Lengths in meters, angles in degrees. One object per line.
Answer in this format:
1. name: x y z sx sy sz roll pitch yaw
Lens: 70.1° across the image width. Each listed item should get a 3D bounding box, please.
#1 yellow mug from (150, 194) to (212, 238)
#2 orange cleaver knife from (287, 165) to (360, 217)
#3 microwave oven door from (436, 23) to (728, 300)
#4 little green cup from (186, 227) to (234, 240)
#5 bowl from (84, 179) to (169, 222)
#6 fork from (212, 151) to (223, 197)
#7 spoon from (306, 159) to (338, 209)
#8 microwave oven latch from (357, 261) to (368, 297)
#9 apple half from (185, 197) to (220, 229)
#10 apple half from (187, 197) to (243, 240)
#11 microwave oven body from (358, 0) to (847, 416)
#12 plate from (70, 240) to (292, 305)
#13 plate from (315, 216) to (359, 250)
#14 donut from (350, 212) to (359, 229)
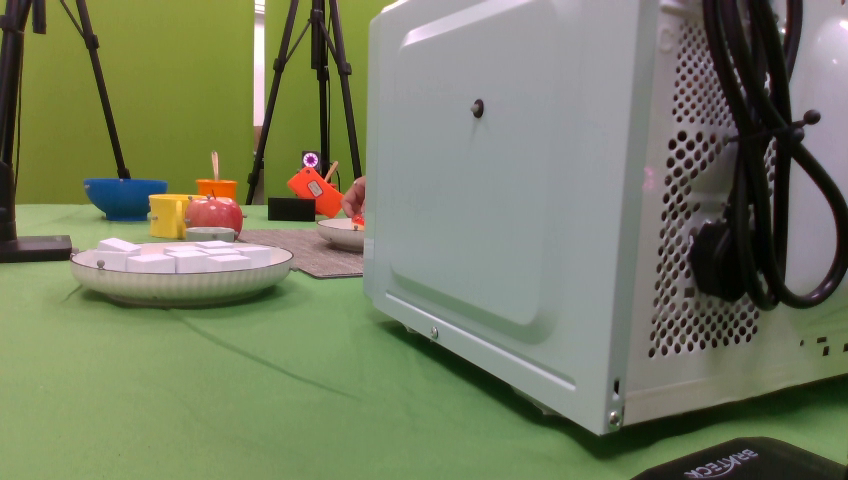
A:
1. yellow mug: -0.401 -0.040 1.003 0.100 0.064 0.130 0 9 -20
2. orange cleaver knife: -0.211 -0.093 1.382 0.212 0.077 0.012 33 1 -15
3. microwave oven door: 0.180 -0.072 0.621 0.358 0.243 0.039 -2 9 -29
4. little green cup: -0.284 0.005 0.805 0.061 0.038 0.061 2 8 0
5. bowl: -0.584 -0.078 1.194 0.151 0.077 0.151 3 8 0
6. fork: -0.494 -0.143 1.442 0.028 0.018 0.206 -2 52 -20
7. spoon: -0.257 -0.147 1.567 0.041 0.022 0.193 2 51 20
8. microwave oven latch: -0.019 0.033 0.531 0.079 0.029 0.030 -1 7 -27
9. apple half: -0.338 -0.031 0.927 0.032 0.081 0.081 12 12 31
10. apple half: -0.305 -0.026 0.907 0.053 0.074 0.081 12 8 31
11. microwave oven body: 0.211 -0.047 0.475 0.444 0.260 0.324 -1 7 -28
12. plate: -0.242 0.031 0.618 0.208 0.039 0.207 2 8 0
13. plate: -0.068 -0.010 0.963 0.209 0.038 0.209 3 8 0
14. donut: -0.070 -0.022 0.964 0.099 0.048 0.099 5 7 0
